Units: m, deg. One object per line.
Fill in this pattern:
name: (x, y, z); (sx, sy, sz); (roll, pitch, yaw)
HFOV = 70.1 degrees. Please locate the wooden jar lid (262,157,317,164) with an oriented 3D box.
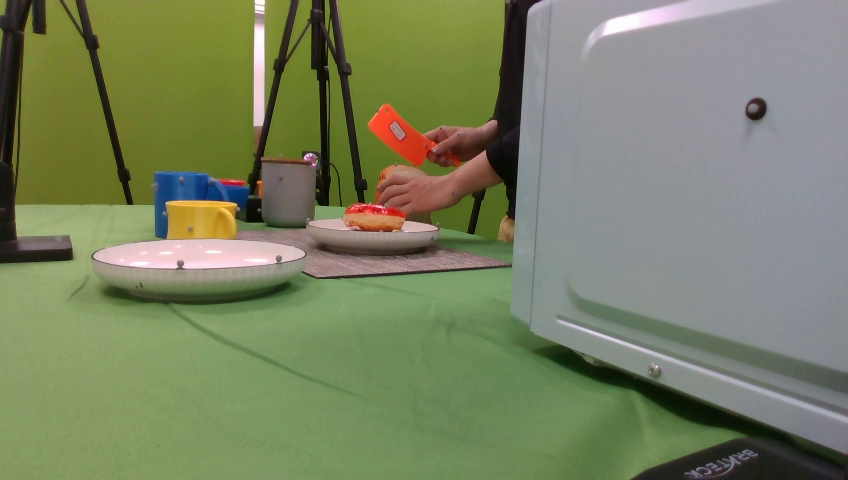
wooden jar lid: (-0.269, -0.154, 1.208); (0.108, 0.020, 0.108); (3, 4, 0)

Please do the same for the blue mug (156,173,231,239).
blue mug: (-0.381, -0.057, 1.004); (0.117, 0.106, 0.082); (0, 8, -12)

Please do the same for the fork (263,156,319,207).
fork: (-0.331, -0.144, 1.505); (0.207, 0.018, 0.028); (-42, -20, 22)

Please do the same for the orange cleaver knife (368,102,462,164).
orange cleaver knife: (-0.014, -0.185, 1.145); (0.212, 0.077, 0.012); (29, -24, -29)

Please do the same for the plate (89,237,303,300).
plate: (-0.233, 0.029, 0.637); (0.208, 0.039, 0.207); (2, 7, 0)

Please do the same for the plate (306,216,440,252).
plate: (-0.079, -0.011, 0.950); (0.209, 0.038, 0.209); (2, 8, 0)

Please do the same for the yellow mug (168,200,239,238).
yellow mug: (-0.319, -0.023, 0.904); (0.130, 0.064, 0.100); (9, 11, 36)

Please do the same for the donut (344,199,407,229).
donut: (-0.076, -0.039, 0.948); (0.099, 0.048, 0.099); (2, 4, 0)

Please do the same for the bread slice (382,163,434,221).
bread slice: (-0.033, -0.075, 1.121); (0.107, 0.134, 0.018); (-2, -1, -27)

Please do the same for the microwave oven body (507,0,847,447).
microwave oven body: (0.331, -0.042, 0.425); (0.444, 0.260, 0.324); (-2, 8, -31)

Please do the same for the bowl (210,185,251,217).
bowl: (-0.408, -0.064, 1.155); (0.151, 0.077, 0.151); (2, 8, 0)

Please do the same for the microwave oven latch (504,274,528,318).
microwave oven latch: (0.100, 0.041, 0.471); (0.079, 0.029, 0.030); (-1, 8, -28)

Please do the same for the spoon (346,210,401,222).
spoon: (-0.120, -0.060, 1.400); (0.042, 0.021, 0.192); (-28, 25, -37)

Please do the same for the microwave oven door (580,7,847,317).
microwave oven door: (0.295, -0.067, 0.570); (0.358, 0.243, 0.039); (-3, 8, -31)

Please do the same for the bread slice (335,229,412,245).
bread slice: (-0.074, -0.006, 0.938); (0.105, 0.019, 0.131); (-2, 4, -19)

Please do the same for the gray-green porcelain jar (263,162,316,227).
gray-green porcelain jar: (-0.271, -0.092, 1.217); (0.106, 0.126, 0.106); (2, 7, 0)
